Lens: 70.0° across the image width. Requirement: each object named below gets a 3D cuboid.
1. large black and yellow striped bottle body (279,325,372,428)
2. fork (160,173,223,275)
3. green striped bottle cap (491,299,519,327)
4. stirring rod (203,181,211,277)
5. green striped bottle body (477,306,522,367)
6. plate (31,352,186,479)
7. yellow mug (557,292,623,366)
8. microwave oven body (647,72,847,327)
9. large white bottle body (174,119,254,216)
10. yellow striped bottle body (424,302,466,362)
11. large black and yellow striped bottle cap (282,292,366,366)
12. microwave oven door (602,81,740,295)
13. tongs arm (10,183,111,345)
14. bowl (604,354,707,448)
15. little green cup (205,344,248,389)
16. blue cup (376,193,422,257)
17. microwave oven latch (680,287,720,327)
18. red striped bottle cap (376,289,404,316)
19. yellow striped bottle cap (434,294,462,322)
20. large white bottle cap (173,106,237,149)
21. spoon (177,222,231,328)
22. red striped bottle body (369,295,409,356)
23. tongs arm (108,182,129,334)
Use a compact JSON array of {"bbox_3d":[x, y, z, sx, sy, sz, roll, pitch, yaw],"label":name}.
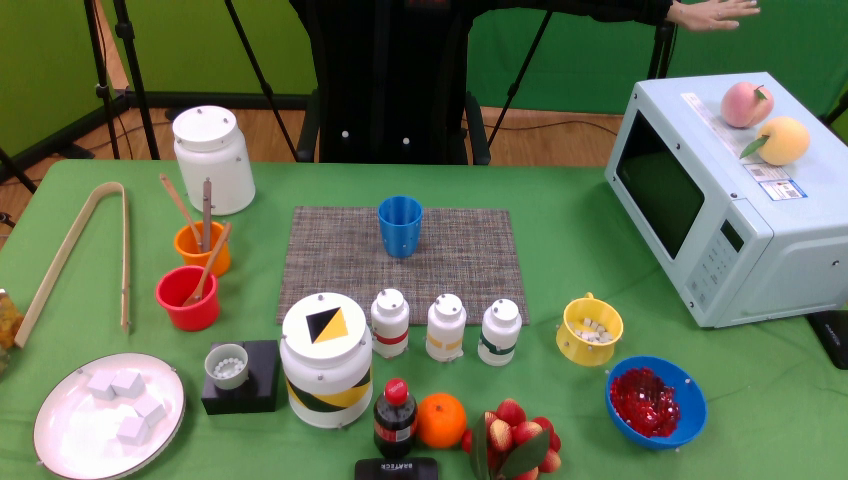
[{"bbox_3d":[-0.143,0.181,0.900,0.131,0.185,0.130,2,46,-2],"label":"large black and yellow striped bottle body"},{"bbox_3d":[-0.426,-0.030,1.103,0.028,0.018,0.207,-30,99,-22],"label":"fork"},{"bbox_3d":[0.128,0.115,0.958,0.044,0.020,0.044,1,46,-1],"label":"green striped bottle cap"},{"bbox_3d":[-0.396,-0.021,1.108,0.014,0.006,0.176,0,89,-2],"label":"stirring rod"},{"bbox_3d":[0.124,0.151,0.995,0.063,0.120,0.063,2,46,-2],"label":"green striped bottle body"},{"bbox_3d":[-0.459,0.262,0.898,0.209,0.038,0.208,2,46,-2],"label":"plate"},{"bbox_3d":[0.285,0.145,1.051,0.100,0.064,0.130,7,46,3],"label":"yellow mug"},{"bbox_3d":[0.608,-0.089,1.164,0.326,0.261,0.438,-7,46,-10],"label":"microwave oven body"},{"bbox_3d":[-0.415,-0.154,1.199,0.131,0.185,0.130,2,46,-2],"label":"large white bottle body"},{"bbox_3d":[0.035,0.143,0.995,0.063,0.121,0.062,3,46,-3],"label":"yellow striped bottle body"},{"bbox_3d":[-0.138,0.121,0.841,0.115,0.019,0.114,3,47,-3],"label":"large black and yellow striped bottle cap"},{"bbox_3d":[0.456,-0.107,1.162,0.039,0.245,0.353,-7,47,-11],"label":"microwave oven door"},{"bbox_3d":[-0.658,0.027,1.109,0.028,0.028,0.385,-2,45,2],"label":"tongs arm"},{"bbox_3d":[0.346,0.261,0.937,0.151,0.077,0.150,2,46,-2],"label":"bowl"},{"bbox_3d":[-0.293,0.191,0.909,0.061,0.039,0.061,1,47,-1],"label":"little green cup"},{"bbox_3d":[-0.047,-0.021,1.155,0.093,0.101,0.092,1,47,-1],"label":"blue cup"},{"bbox_3d":[0.494,0.119,1.089,0.030,0.029,0.078,-7,46,-10],"label":"microwave oven latch"},{"bbox_3d":[-0.054,0.098,0.958,0.044,0.018,0.044,0,48,1],"label":"red striped bottle cap"},{"bbox_3d":[0.038,0.107,0.958,0.044,0.019,0.044,2,45,-2],"label":"yellow striped bottle cap"},{"bbox_3d":[-0.411,-0.212,1.138,0.115,0.018,0.114,2,47,-2],"label":"large white bottle cap"},{"bbox_3d":[-0.369,0.059,1.027,0.041,0.022,0.193,25,94,18],"label":"spoon"},{"bbox_3d":[-0.059,0.134,0.997,0.063,0.120,0.062,5,47,-5],"label":"red striped bottle body"},{"bbox_3d":[-0.571,0.019,1.123,0.051,0.026,0.382,-11,47,-11],"label":"tongs arm"}]
